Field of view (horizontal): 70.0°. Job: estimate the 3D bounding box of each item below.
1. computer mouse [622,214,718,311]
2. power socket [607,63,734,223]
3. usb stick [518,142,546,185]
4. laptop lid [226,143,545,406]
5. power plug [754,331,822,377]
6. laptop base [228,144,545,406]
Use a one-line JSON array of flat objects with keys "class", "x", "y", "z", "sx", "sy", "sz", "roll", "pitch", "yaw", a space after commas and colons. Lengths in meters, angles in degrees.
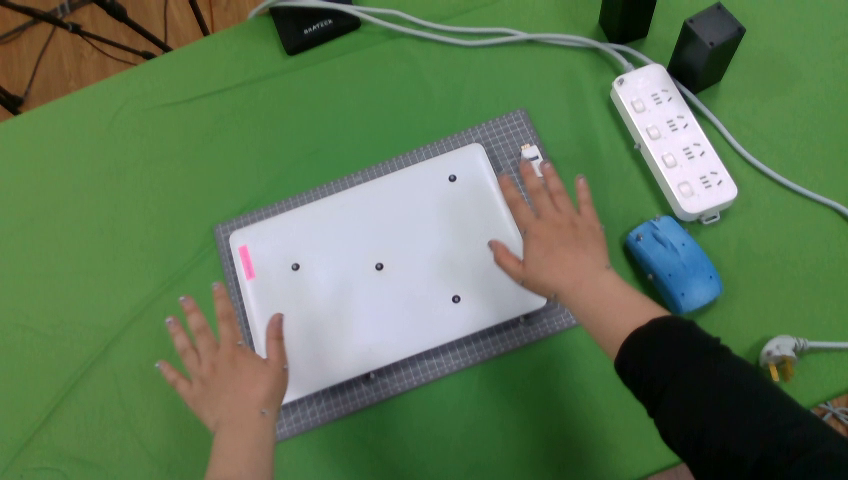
[{"class": "computer mouse", "x": 0.285, "y": 0.022, "z": 0.705, "sx": 0.063, "sy": 0.041, "sz": 0.116, "roll": -27, "pitch": 64, "yaw": 0}, {"class": "power socket", "x": 0.304, "y": -0.126, "z": 0.758, "sx": 0.072, "sy": 0.033, "sz": 0.225, "roll": -21, "pitch": 68, "yaw": 2}, {"class": "usb stick", "x": 0.136, "y": -0.102, "z": 0.775, "sx": 0.021, "sy": 0.027, "sz": 0.058, "roll": -22, "pitch": 66, "yaw": 4}, {"class": "laptop lid", "x": -0.057, "y": 0.034, "z": 0.746, "sx": 0.357, "sy": 0.013, "sz": 0.240, "roll": -19, "pitch": 71, "yaw": 1}, {"class": "power plug", "x": 0.395, "y": 0.121, "z": 0.649, "sx": 0.072, "sy": 0.035, "sz": 0.052, "roll": -8, "pitch": 50, "yaw": 17}, {"class": "laptop base", "x": -0.056, "y": 0.036, "z": 0.758, "sx": 0.354, "sy": 0.023, "sz": 0.234, "roll": -21, "pitch": 72, "yaw": 0}]
